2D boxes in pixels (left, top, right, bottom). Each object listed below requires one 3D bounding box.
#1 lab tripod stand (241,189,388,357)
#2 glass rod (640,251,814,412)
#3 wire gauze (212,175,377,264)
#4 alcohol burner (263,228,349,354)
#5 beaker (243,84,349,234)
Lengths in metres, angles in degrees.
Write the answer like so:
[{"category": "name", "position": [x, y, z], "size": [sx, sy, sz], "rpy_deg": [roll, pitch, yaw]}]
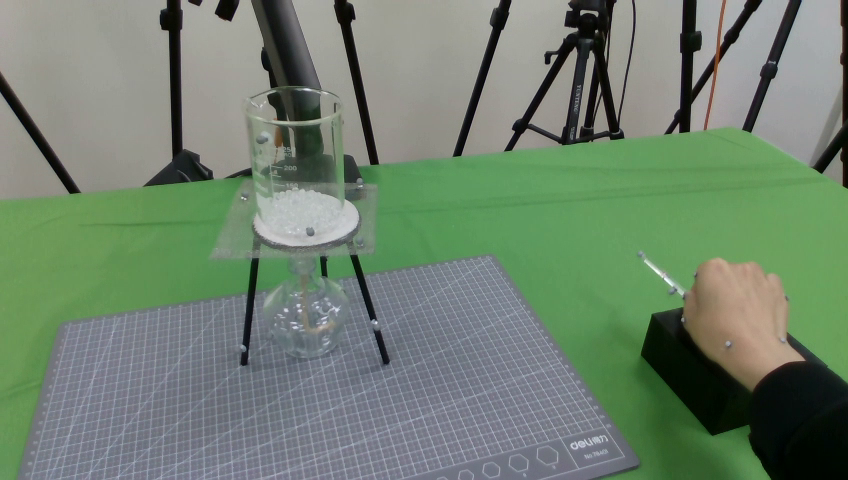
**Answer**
[{"category": "lab tripod stand", "position": [-0.095, 0.033, 0.539], "size": [0.148, 0.132, 0.147], "rpy_deg": [3, 33, -2]}, {"category": "glass rod", "position": [0.253, 0.070, 0.524], "size": [0.008, 0.008, 0.197], "rpy_deg": [-13, 42, -21]}, {"category": "wire gauze", "position": [-0.100, -0.022, 0.502], "size": [0.121, 0.011, 0.124], "rpy_deg": [0, 36, -3]}, {"category": "alcohol burner", "position": [-0.107, 0.043, 0.542], "size": [0.078, 0.120, 0.077], "rpy_deg": [0, 32, 0]}, {"category": "beaker", "position": [-0.100, -0.063, 0.476], "size": [0.083, 0.101, 0.074], "rpy_deg": [21, 37, 24]}]
